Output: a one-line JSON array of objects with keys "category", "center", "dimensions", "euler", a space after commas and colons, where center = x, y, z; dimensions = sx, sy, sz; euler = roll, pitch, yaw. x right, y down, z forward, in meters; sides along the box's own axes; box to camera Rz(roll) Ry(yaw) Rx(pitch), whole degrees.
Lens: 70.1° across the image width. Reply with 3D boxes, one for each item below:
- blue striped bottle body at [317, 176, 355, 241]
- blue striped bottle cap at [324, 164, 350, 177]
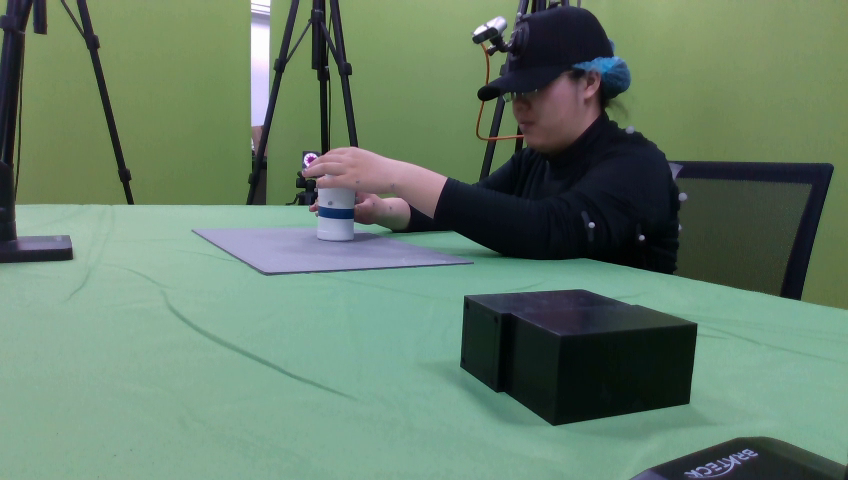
[{"category": "blue striped bottle body", "center": [-0.149, -0.061, 1.024], "dimensions": [0.063, 0.120, 0.063], "euler": [3, 8, 0]}, {"category": "blue striped bottle cap", "center": [-0.146, -0.117, 1.016], "dimensions": [0.044, 0.020, 0.044], "euler": [3, 5, 0]}]
